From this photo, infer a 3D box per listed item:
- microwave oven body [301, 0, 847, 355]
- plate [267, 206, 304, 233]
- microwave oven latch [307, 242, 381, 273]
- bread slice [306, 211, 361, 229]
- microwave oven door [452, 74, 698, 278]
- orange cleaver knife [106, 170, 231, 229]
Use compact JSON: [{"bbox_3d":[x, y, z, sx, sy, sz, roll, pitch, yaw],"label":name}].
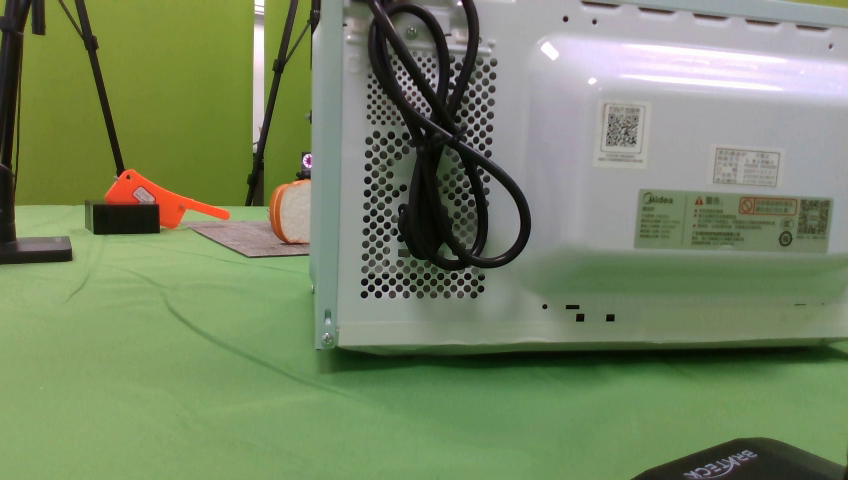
[{"bbox_3d":[0.120,-0.053,0.535,0.443,0.260,0.325,2,7,-11],"label":"microwave oven body"},{"bbox_3d":[-0.197,-0.039,1.175,0.208,0.039,0.207,2,7,0],"label":"plate"},{"bbox_3d":[-0.086,0.019,0.656,0.079,0.029,0.030,2,7,-10],"label":"microwave oven latch"},{"bbox_3d":[-0.173,-0.040,1.173,0.107,0.018,0.134,-2,10,-8],"label":"bread slice"},{"bbox_3d":[0.183,-0.094,0.836,0.354,0.243,0.039,9,10,44],"label":"microwave oven door"},{"bbox_3d":[-0.458,-0.060,1.097,0.212,0.077,0.012,23,-4,-38],"label":"orange cleaver knife"}]
